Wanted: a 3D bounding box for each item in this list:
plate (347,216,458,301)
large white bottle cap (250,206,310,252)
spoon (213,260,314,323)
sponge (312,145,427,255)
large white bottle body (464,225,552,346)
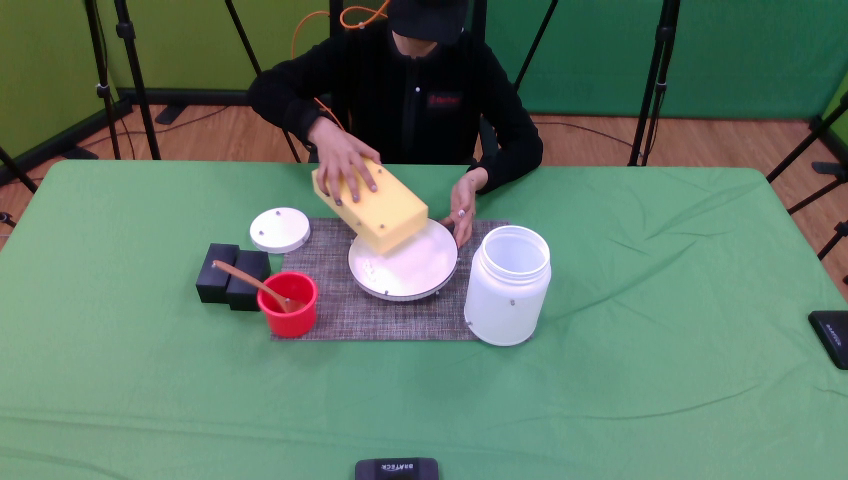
[{"bbox_3d":[-0.040,0.034,1.136,0.209,0.038,0.208,-2,48,2],"label":"plate"},{"bbox_3d":[-0.284,-0.023,1.197,0.115,0.018,0.114,1,46,0],"label":"large white bottle cap"},{"bbox_3d":[-0.264,0.083,1.009,0.195,0.021,0.041,40,39,-28],"label":"spoon"},{"bbox_3d":[-0.106,-0.080,1.168,0.118,0.061,0.206,-36,64,-26],"label":"sponge"},{"bbox_3d":[0.141,0.076,1.017,0.131,0.185,0.130,2,46,-2],"label":"large white bottle body"}]
